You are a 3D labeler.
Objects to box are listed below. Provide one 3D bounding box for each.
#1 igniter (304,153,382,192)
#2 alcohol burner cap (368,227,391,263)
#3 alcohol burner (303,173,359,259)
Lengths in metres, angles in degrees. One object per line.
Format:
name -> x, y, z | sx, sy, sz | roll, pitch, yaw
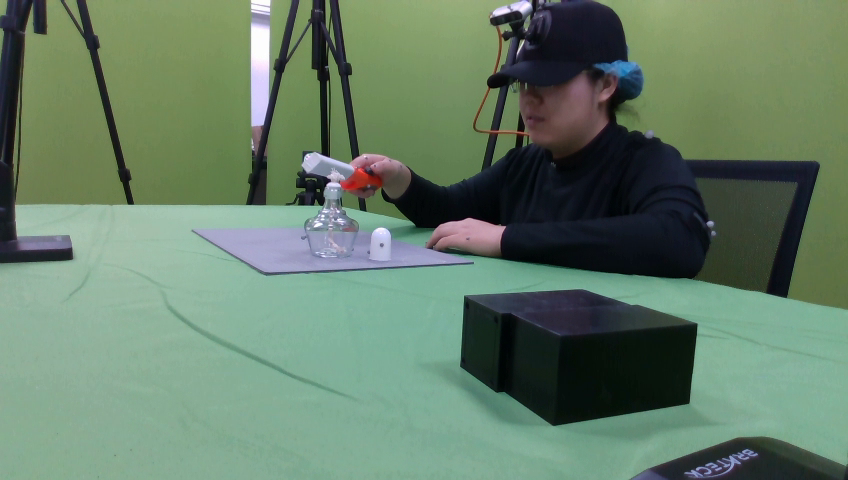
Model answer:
igniter -> -0.125, -0.109, 1.005 | 0.057, 0.025, 0.277 | -40, -11, 11
alcohol burner cap -> -0.060, 0.006, 0.836 | 0.034, 0.048, 0.034 | 3, 7, 0
alcohol burner -> -0.130, -0.034, 0.850 | 0.078, 0.119, 0.078 | 2, 5, 0
